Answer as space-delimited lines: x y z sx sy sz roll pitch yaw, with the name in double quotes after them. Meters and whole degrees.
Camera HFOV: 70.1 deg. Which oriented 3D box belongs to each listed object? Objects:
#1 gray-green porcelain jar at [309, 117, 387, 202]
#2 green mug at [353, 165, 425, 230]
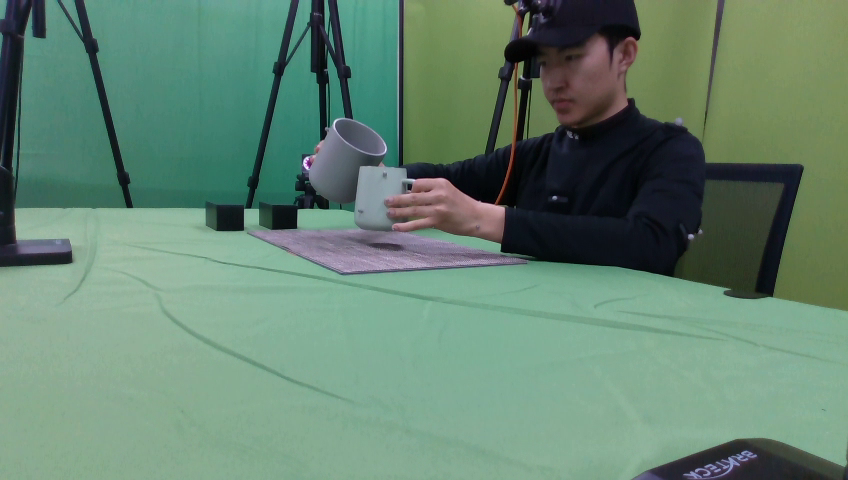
-0.141 -0.139 1.087 0.106 0.126 0.105 25 32 -16 "gray-green porcelain jar"
-0.055 -0.070 1.003 0.125 0.105 0.093 5 6 25 "green mug"
